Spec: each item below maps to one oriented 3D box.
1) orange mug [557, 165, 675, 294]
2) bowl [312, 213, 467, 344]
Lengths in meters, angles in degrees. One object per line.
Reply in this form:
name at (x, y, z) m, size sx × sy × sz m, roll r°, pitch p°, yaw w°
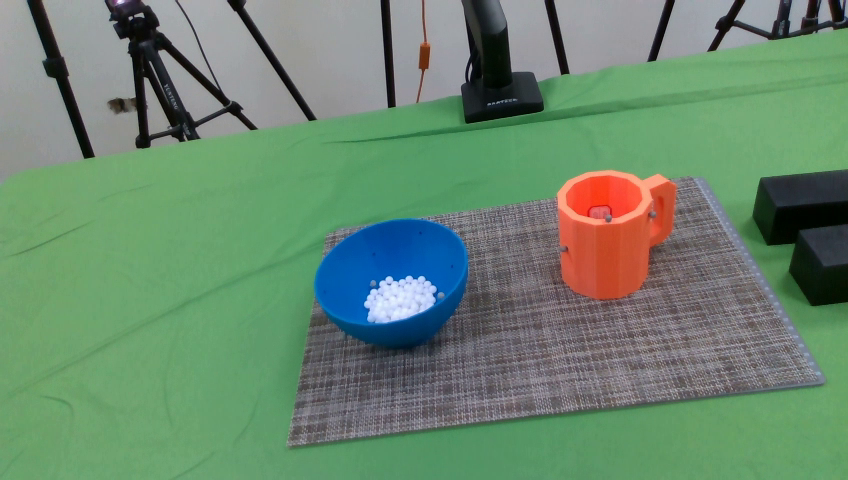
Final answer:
orange mug at (0.192, -0.018, 0.601) m, size 0.126 × 0.102 × 0.082 m, roll -26°, pitch 41°, yaw -9°
bowl at (-0.026, 0.050, 0.598) m, size 0.151 × 0.077 × 0.150 m, roll -8°, pitch 39°, yaw 7°
